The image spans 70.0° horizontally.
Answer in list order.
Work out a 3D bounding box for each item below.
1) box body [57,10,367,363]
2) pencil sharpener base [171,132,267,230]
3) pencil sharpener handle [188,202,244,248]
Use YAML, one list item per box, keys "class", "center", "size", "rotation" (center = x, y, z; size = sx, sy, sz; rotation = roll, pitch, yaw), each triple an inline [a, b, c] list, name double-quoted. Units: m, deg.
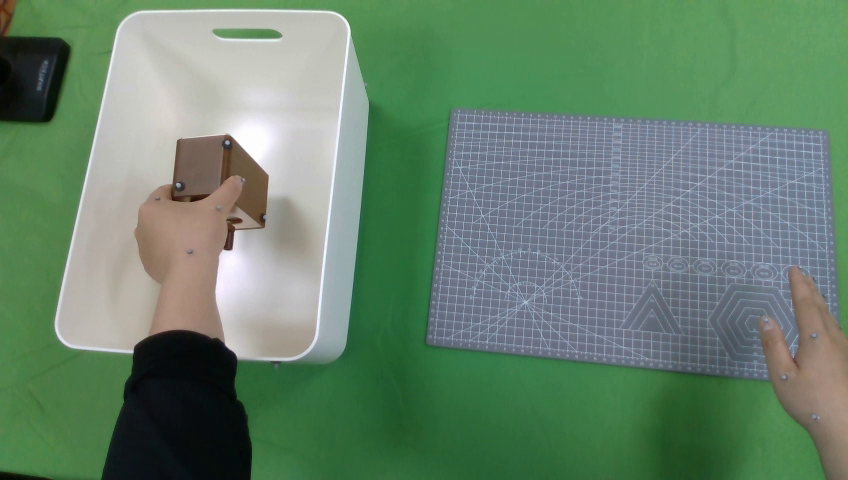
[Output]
- class: "box body"
  center: [-0.206, -0.048, 0.673]
  size: [0.254, 0.161, 0.362]
  rotation: [2, 76, 5]
- class: "pencil sharpener base"
  center: [-0.221, -0.058, 0.664]
  size: [0.061, 0.108, 0.076]
  rotation: [-5, 71, 7]
- class: "pencil sharpener handle"
  center: [-0.216, -0.014, 0.635]
  size: [0.036, 0.068, 0.030]
  rotation: [-12, 69, 28]
